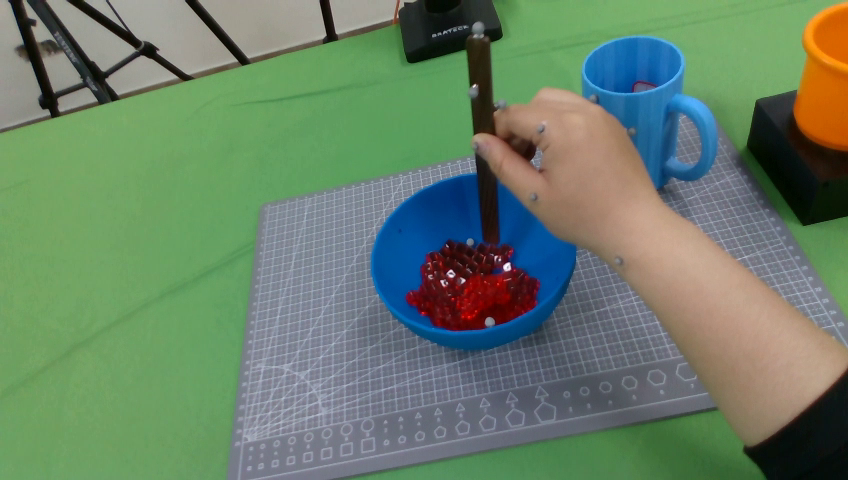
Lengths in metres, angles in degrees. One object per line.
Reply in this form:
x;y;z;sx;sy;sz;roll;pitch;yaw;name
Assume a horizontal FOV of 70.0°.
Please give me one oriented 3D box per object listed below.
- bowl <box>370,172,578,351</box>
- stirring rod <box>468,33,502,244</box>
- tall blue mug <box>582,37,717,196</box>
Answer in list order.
0.042;0.028;0.459;0.151;0.077;0.150;-8;49;10;bowl
0.041;-0.054;0.391;0.014;0.178;0.006;10;53;17;stirring rod
0.187;-0.098;0.501;0.106;0.109;0.077;9;53;24;tall blue mug
